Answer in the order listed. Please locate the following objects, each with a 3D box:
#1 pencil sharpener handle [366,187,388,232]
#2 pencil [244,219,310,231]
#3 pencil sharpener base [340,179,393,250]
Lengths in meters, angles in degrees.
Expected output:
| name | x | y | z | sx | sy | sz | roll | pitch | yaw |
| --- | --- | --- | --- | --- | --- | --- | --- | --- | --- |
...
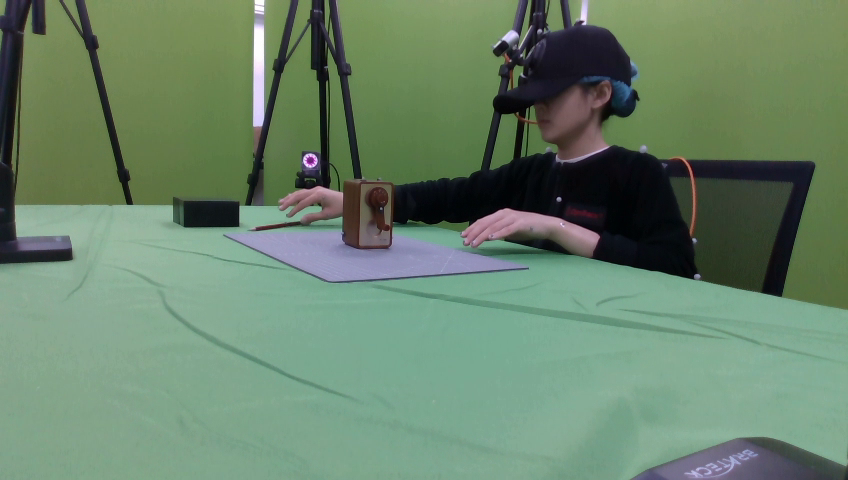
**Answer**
| name | x | y | z | sx | sy | sz | roll | pitch | yaw |
| --- | --- | --- | --- | --- | --- | --- | --- | --- | --- |
| pencil sharpener handle | -0.065 | -0.046 | 0.915 | 0.036 | 0.067 | 0.030 | -8 | 12 | -27 |
| pencil | -0.285 | -0.029 | 1.191 | 0.012 | 0.012 | 0.195 | 7 | 9 | 25 |
| pencil sharpener base | -0.091 | -0.041 | 0.960 | 0.061 | 0.107 | 0.076 | -1 | 9 | -28 |
